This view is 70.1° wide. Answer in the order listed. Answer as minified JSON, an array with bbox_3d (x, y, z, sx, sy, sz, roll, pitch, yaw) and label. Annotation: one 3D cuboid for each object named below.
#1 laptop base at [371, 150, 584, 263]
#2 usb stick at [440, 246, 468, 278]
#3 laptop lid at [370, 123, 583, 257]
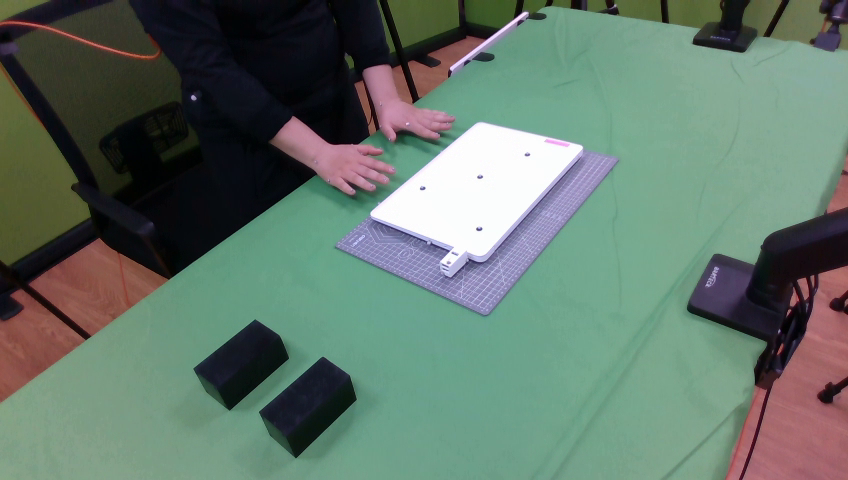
[{"bbox_3d":[0.102,-0.096,1.070,0.233,0.023,0.355,19,47,32],"label":"laptop base"},{"bbox_3d":[0.050,0.029,0.911,0.021,0.027,0.059,24,47,32],"label":"usb stick"},{"bbox_3d":[0.099,-0.106,1.064,0.240,0.013,0.358,22,48,33],"label":"laptop lid"}]
